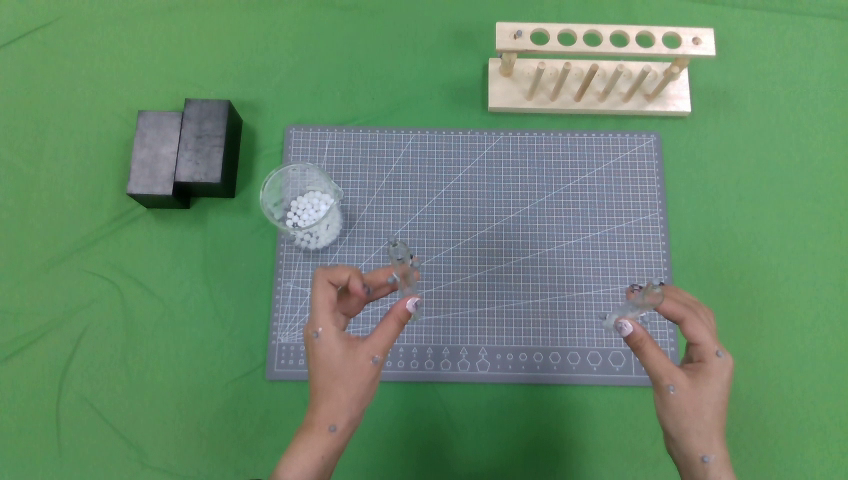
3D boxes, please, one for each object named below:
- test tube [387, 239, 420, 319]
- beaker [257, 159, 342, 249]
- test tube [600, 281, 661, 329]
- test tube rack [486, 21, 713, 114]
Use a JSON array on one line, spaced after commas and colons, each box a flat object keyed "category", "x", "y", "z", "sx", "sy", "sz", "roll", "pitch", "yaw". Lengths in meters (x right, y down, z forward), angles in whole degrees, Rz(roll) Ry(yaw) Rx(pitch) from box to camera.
[{"category": "test tube", "x": -0.015, "y": 0.037, "z": 0.496, "sx": 0.017, "sy": 0.151, "sz": 0.017, "roll": -1, "pitch": 65, "yaw": 3}, {"category": "beaker", "x": -0.126, "y": -0.035, "z": 0.652, "sx": 0.084, "sy": 0.100, "sz": 0.073, "roll": -6, "pitch": 76, "yaw": -3}, {"category": "test tube", "x": 0.169, "y": 0.057, "z": 0.506, "sx": 0.017, "sy": 0.151, "sz": 0.017, "roll": -1, "pitch": 74, "yaw": 4}, {"category": "test tube rack", "x": 0.198, "y": -0.199, "z": 0.706, "sx": 0.242, "sy": 0.085, "sz": 0.066, "roll": 1, "pitch": 76, "yaw": 0}]
